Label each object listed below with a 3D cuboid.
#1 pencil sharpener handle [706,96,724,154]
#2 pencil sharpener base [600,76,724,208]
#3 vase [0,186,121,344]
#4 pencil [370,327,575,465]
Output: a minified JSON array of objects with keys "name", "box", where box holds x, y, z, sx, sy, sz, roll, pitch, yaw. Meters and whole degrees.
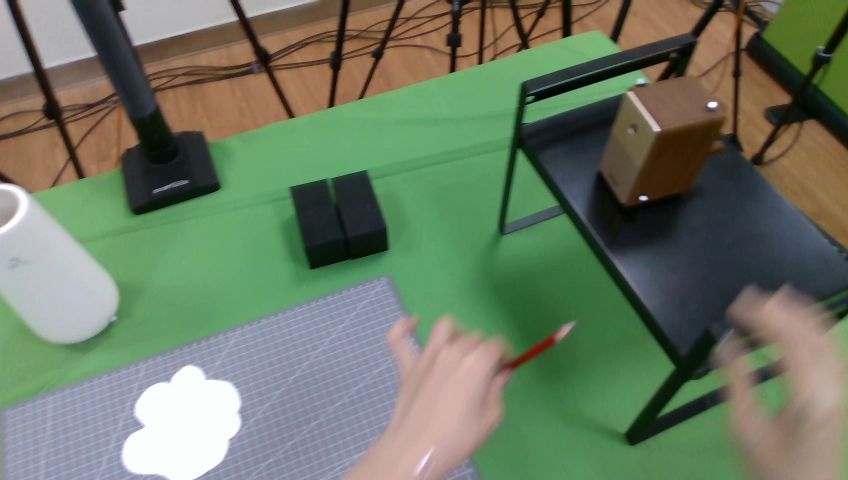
[{"name":"pencil sharpener handle","box":[0.272,-0.109,0.572,0.031,0.068,0.035,-15,44,-11]},{"name":"pencil sharpener base","box":[0.222,-0.091,0.574,0.077,0.108,0.060,-15,55,-11]},{"name":"vase","box":[-0.410,0.031,0.650,0.098,0.202,0.097,-1,54,1]},{"name":"pencil","box":[0.041,0.122,0.484,0.194,0.012,0.012,-32,59,-4]}]
